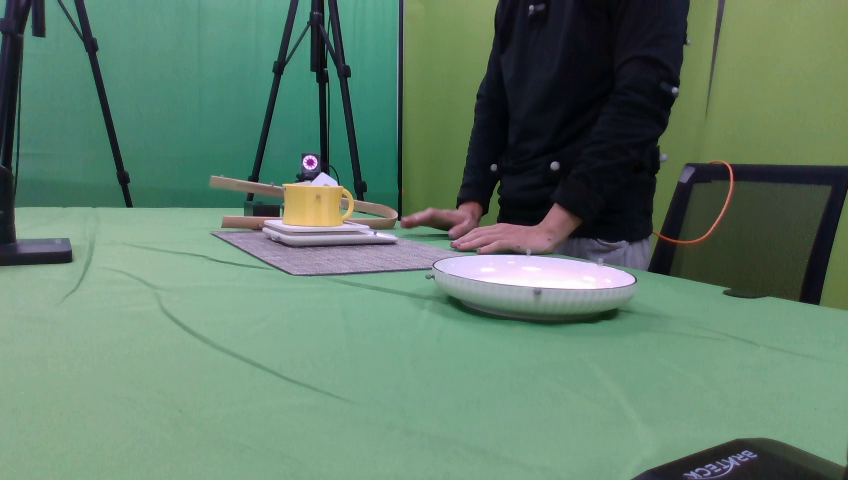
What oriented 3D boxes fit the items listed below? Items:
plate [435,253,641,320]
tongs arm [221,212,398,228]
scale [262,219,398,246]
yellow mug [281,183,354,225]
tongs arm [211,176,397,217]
[{"bbox_3d":[0.114,0.047,0.626,0.208,0.039,0.207,2,7,0],"label":"plate"},{"bbox_3d":[-0.208,-0.039,1.198,0.390,0.028,0.028,-2,30,-38],"label":"tongs arm"},{"bbox_3d":[-0.160,-0.016,1.028,0.202,0.031,0.148,-2,9,-32],"label":"scale"},{"bbox_3d":[-0.172,-0.061,1.009,0.131,0.064,0.099,-2,8,-42],"label":"yellow mug"},{"bbox_3d":[-0.240,-0.084,1.257,0.387,0.026,0.050,7,28,-27],"label":"tongs arm"}]
